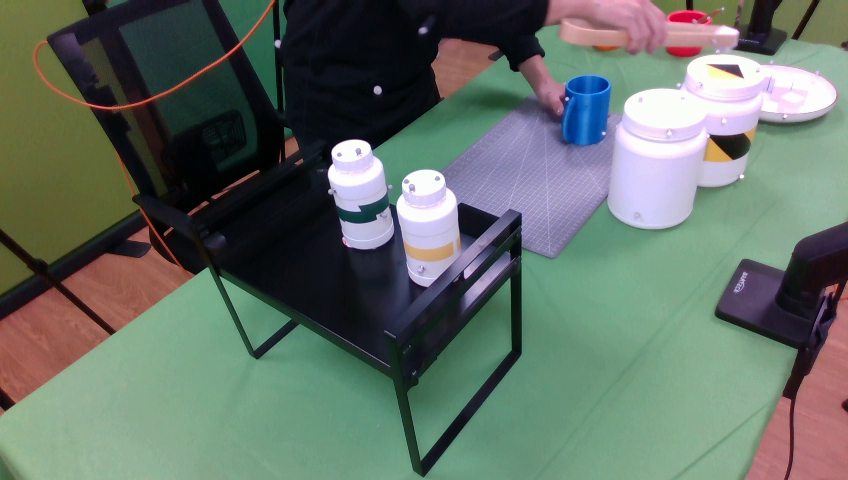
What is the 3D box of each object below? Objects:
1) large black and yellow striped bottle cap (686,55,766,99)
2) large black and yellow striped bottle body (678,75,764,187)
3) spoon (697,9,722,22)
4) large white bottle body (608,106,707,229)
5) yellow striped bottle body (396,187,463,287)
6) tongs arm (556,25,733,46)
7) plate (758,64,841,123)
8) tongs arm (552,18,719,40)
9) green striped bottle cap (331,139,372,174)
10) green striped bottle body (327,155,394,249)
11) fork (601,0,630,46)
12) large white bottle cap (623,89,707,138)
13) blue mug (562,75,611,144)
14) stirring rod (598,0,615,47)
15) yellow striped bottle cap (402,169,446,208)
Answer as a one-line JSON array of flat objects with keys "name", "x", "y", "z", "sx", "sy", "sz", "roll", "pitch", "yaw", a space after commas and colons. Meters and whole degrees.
[{"name": "large black and yellow striped bottle cap", "x": 0.474, "y": -0.258, "z": 0.952, "sx": 0.115, "sy": 0.019, "sz": 0.114, "roll": -5, "pitch": 41, "yaw": 5}, {"name": "large black and yellow striped bottle body", "x": 0.482, "y": -0.196, "z": 1.008, "sx": 0.131, "sy": 0.185, "sz": 0.130, "roll": -4, "pitch": 41, "yaw": 4}, {"name": "spoon", "x": 0.606, "y": -0.476, "z": 1.345, "sx": 0.042, "sy": 0.021, "sz": 0.193, "roll": -6, "pitch": -3, "yaw": -2}, {"name": "large white bottle body", "x": 0.361, "y": -0.124, "z": 0.941, "sx": 0.130, "sy": 0.185, "sz": 0.130, "roll": -4, "pitch": 41, "yaw": 4}, {"name": "yellow striped bottle body", "x": 0.006, "y": -0.013, "z": 0.638, "sx": 0.063, "sy": 0.121, "sz": 0.062, "roll": -5, "pitch": 41, "yaw": 4}, {"name": "tongs arm", "x": 0.388, "y": -0.345, "z": 1.023, "sx": 0.390, "sy": 0.028, "sz": 0.028, "roll": -9, "pitch": 46, "yaw": -26}, {"name": "plate", "x": 0.694, "y": -0.283, "z": 1.189, "sx": 0.207, "sy": 0.039, "sz": 0.206, "roll": -4, "pitch": 40, "yaw": 4}, {"name": "tongs arm", "x": 0.378, "y": -0.360, "z": 1.039, "sx": 0.387, "sy": 0.026, "sz": 0.050, "roll": -6, "pitch": 41, "yaw": -23}, {"name": "green striped bottle cap", "x": -0.080, "y": -0.092, "z": 0.665, "sx": 0.044, "sy": 0.020, "sz": 0.044, "roll": -3, "pitch": 40, "yaw": 3}, {"name": "green striped bottle body", "x": -0.073, "y": -0.053, "z": 0.699, "sx": 0.063, "sy": 0.120, "sz": 0.063, "roll": -5, "pitch": 41, "yaw": 4}, {"name": "fork", "x": 0.479, "y": -0.556, "z": 1.452, "sx": 0.028, "sy": 0.019, "sz": 0.207, "roll": 41, "pitch": 103, "yaw": 40}, {"name": "large white bottle cap", "x": 0.352, "y": -0.187, "z": 0.886, "sx": 0.115, "sy": 0.018, "sz": 0.114, "roll": -4, "pitch": 41, "yaw": 4}, {"name": "blue mug", "x": 0.298, "y": -0.240, "z": 1.143, "sx": 0.117, "sy": 0.106, "sz": 0.081, "roll": -36, "pitch": 48, "yaw": -28}, {"name": "stirring rod", "x": 0.437, "y": -0.551, "z": 1.462, "sx": 0.014, "sy": 0.006, "sz": 0.175, "roll": -11, "pitch": 83, "yaw": 1}, {"name": "yellow striped bottle cap", "x": 0.000, "y": -0.052, "z": 0.605, "sx": 0.044, "sy": 0.019, "sz": 0.044, "roll": -4, "pitch": 43, "yaw": 4}]
